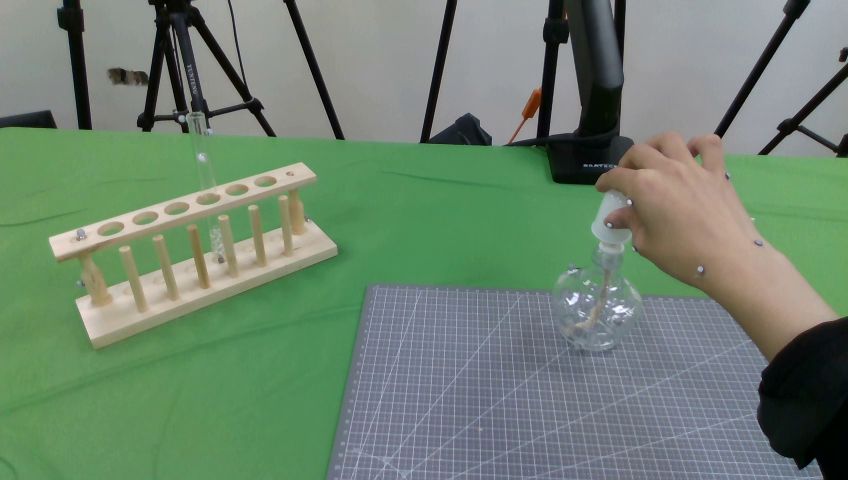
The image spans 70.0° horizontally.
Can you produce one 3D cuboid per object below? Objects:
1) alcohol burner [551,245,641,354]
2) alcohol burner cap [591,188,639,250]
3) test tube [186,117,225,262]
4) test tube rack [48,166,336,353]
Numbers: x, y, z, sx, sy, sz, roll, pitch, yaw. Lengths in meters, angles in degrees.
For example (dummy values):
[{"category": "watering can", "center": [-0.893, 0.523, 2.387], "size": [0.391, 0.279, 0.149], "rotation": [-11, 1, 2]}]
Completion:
[{"category": "alcohol burner", "center": [0.152, 0.042, 0.526], "size": [0.078, 0.120, 0.077], "rotation": [1, 38, -1]}, {"category": "alcohol burner cap", "center": [0.154, -0.019, 0.481], "size": [0.034, 0.048, 0.033], "rotation": [2, 42, -1]}, {"category": "test tube", "center": [-0.207, -0.044, 0.581], "size": [0.017, 0.151, 0.017], "rotation": [1, 30, 0]}, {"category": "test tube rack", "center": [-0.211, 0.011, 0.589], "size": [0.243, 0.086, 0.066], "rotation": [-22, 42, -29]}]
